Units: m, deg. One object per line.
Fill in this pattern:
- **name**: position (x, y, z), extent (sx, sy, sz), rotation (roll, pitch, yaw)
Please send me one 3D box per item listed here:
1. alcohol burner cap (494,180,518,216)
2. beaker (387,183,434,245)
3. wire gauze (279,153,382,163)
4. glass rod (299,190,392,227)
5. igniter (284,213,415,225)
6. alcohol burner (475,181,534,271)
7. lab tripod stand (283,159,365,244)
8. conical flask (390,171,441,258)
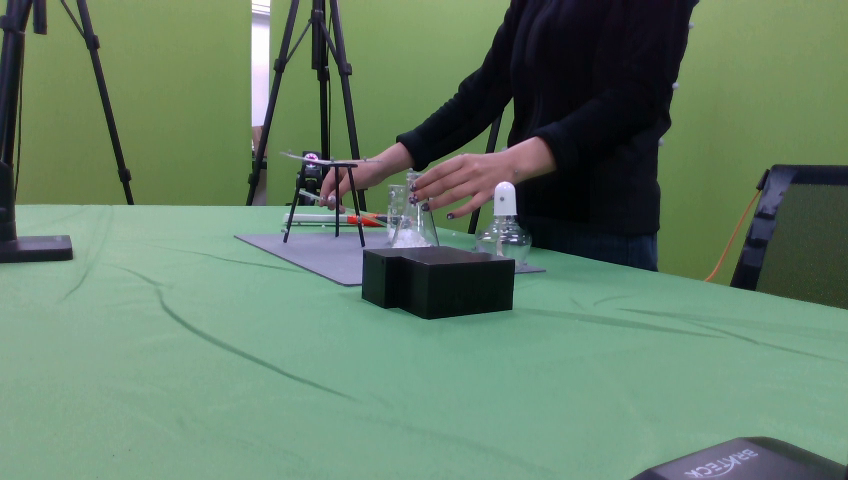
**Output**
- **alcohol burner cap**: position (0.108, -0.055, 0.800), extent (0.034, 0.048, 0.034), rotation (-2, 4, 0)
- **beaker**: position (-0.027, -0.044, 1.012), extent (0.074, 0.100, 0.083), rotation (-2, 8, -34)
- **wire gauze**: position (-0.149, -0.129, 0.974), extent (0.124, 0.011, 0.122), rotation (10, 9, 41)
- **glass rod**: position (-0.149, -0.059, 1.157), extent (0.200, 0.008, 0.008), rotation (21, -1, -23)
- **igniter**: position (-0.154, -0.045, 1.282), extent (0.278, 0.025, 0.057), rotation (0, -3, -20)
- **alcohol burner**: position (0.108, -0.020, 0.804), extent (0.078, 0.119, 0.078), rotation (3, 5, 0)
- **lab tripod stand**: position (-0.151, -0.063, 0.983), extent (0.148, 0.131, 0.148), rotation (4, 7, 0)
- **conical flask**: position (-0.010, -0.037, 0.872), extent (0.075, 0.122, 0.075), rotation (2, 7, 0)
